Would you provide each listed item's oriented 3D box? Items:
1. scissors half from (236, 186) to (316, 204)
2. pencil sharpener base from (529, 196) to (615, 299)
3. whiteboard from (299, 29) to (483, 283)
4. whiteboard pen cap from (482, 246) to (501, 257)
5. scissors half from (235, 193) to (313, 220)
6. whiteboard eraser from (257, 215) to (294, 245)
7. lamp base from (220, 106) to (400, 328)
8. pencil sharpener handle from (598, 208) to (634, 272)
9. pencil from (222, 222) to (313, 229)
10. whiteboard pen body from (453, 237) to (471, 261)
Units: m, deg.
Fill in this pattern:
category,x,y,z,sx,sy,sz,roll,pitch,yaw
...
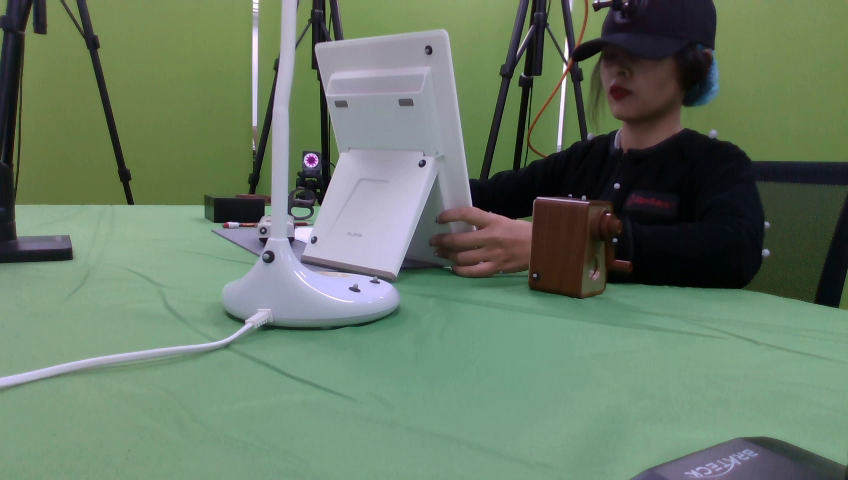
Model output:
category,x,y,z,sx,sy,sz,roll,pitch,yaw
scissors half,-0.320,-0.097,1.316,0.176,0.040,0.013,-3,11,-29
pencil sharpener base,0.168,0.007,0.678,0.076,0.107,0.062,10,10,42
whiteboard,-0.074,-0.082,0.742,0.216,0.305,0.144,9,30,38
whiteboard pen cap,0.104,0.017,0.936,0.018,0.018,0.033,-1,3,-22
scissors half,-0.324,-0.077,1.319,0.176,0.040,0.012,17,6,-31
whiteboard eraser,-0.232,-0.016,0.951,0.056,0.042,0.112,2,7,-12
lamp base,-0.101,-0.023,0.531,0.160,0.180,0.179,4,10,10
pencil sharpener handle,0.208,0.000,0.644,0.030,0.068,0.036,10,23,42
pencil,-0.302,-0.030,1.189,0.195,0.012,0.012,-2,9,-42
whiteboard pen body,0.058,0.015,0.912,0.017,0.017,0.140,2,10,-3
